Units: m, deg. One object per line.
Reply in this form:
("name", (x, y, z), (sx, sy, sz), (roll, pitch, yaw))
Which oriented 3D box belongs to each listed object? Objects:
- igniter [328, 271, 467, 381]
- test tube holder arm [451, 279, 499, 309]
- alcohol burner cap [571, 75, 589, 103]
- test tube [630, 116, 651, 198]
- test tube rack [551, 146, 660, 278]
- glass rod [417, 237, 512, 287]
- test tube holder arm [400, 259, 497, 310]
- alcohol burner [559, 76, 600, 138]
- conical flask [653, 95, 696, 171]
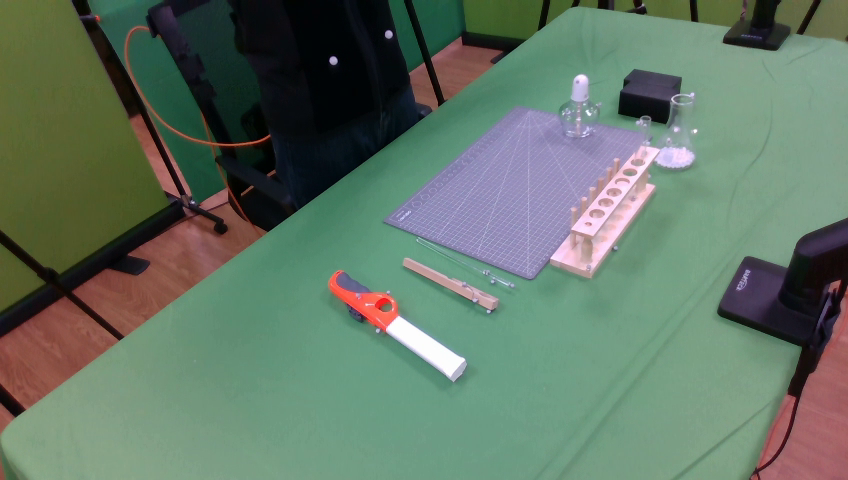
("igniter", (-0.049, 0.114, 0.854), (0.274, 0.025, 0.057), (29, 63, 37))
("test tube holder arm", (0.071, 0.079, 0.883), (0.087, 0.015, 0.010), (23, 14, 34))
("alcohol burner cap", (0.294, -0.284, 1.132), (0.034, 0.048, 0.033), (-5, 46, 5))
("test tube", (0.336, -0.125, 0.941), (0.017, 0.151, 0.017), (-5, 43, 5))
("test tube rack", (0.286, -0.053, 0.943), (0.066, 0.085, 0.243), (21, 49, 32))
("glass rod", (0.059, 0.032, 0.945), (0.198, 0.008, 0.008), (26, 52, 38))
("test tube holder arm", (0.033, 0.064, 0.902), (0.177, 0.015, 0.013), (23, 14, 32))
("alcohol burner", (0.298, -0.258, 1.156), (0.078, 0.119, 0.077), (-4, 39, 4))
("conical flask", (0.437, -0.187, 1.043), (0.075, 0.122, 0.075), (-6, 40, 5))
